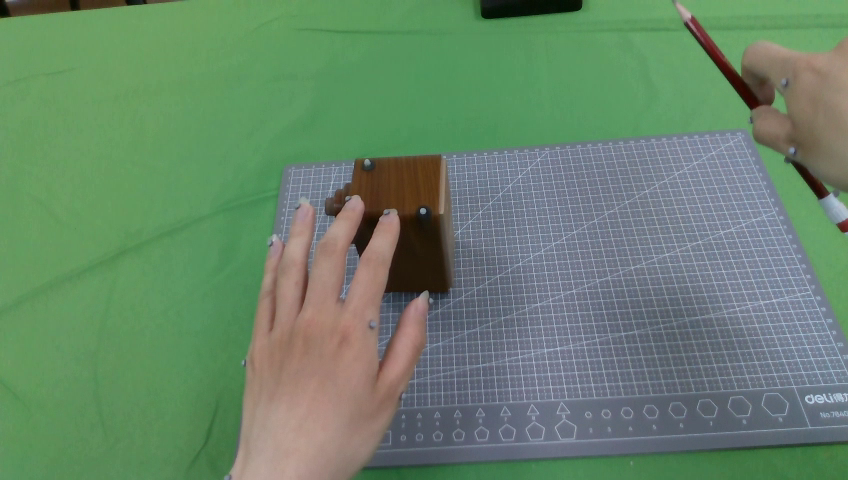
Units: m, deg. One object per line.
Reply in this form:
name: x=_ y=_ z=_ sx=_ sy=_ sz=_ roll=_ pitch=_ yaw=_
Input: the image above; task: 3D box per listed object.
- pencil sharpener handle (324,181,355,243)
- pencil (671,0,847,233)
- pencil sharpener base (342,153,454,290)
pencil sharpener handle: x=-0.069 y=-0.017 z=0.472 sx=0.030 sy=0.068 sz=0.035 roll=-1 pitch=58 yaw=6
pencil: x=0.222 y=-0.082 z=0.397 sx=0.012 sy=0.012 sz=0.194 roll=-40 pitch=92 yaw=-21
pencil sharpener base: x=-0.017 y=-0.010 z=0.477 sx=0.076 sy=0.108 sz=0.061 roll=-1 pitch=54 yaw=6
